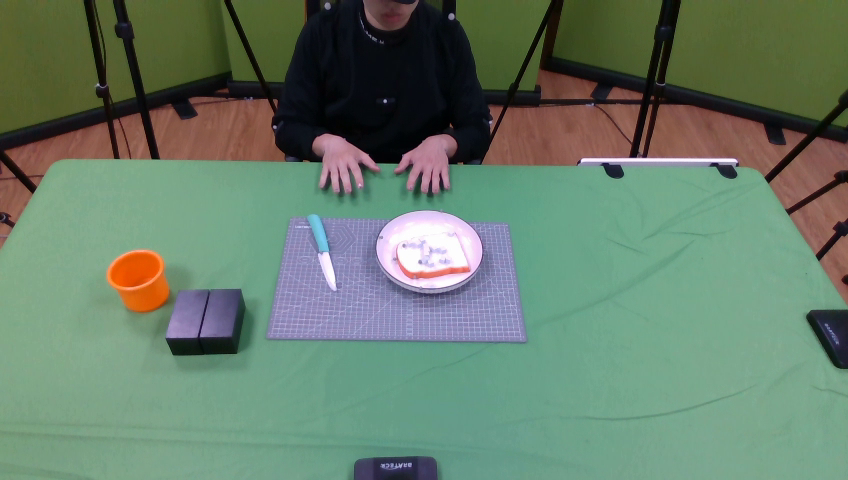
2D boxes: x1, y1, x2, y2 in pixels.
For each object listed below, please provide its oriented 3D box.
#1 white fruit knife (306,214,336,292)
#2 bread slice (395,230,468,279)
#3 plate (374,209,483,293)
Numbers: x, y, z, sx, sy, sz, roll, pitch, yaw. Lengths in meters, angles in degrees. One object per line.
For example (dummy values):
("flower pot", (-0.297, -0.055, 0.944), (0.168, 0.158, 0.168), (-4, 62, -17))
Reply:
("white fruit knife", (-0.195, 0.021, 1.164), (0.027, 0.016, 0.206), (-30, 51, 8))
("bread slice", (0.011, 0.029, 1.158), (0.132, 0.019, 0.104), (-9, 48, -14))
("plate", (0.009, 0.024, 1.160), (0.209, 0.038, 0.208), (2, 46, -2))
